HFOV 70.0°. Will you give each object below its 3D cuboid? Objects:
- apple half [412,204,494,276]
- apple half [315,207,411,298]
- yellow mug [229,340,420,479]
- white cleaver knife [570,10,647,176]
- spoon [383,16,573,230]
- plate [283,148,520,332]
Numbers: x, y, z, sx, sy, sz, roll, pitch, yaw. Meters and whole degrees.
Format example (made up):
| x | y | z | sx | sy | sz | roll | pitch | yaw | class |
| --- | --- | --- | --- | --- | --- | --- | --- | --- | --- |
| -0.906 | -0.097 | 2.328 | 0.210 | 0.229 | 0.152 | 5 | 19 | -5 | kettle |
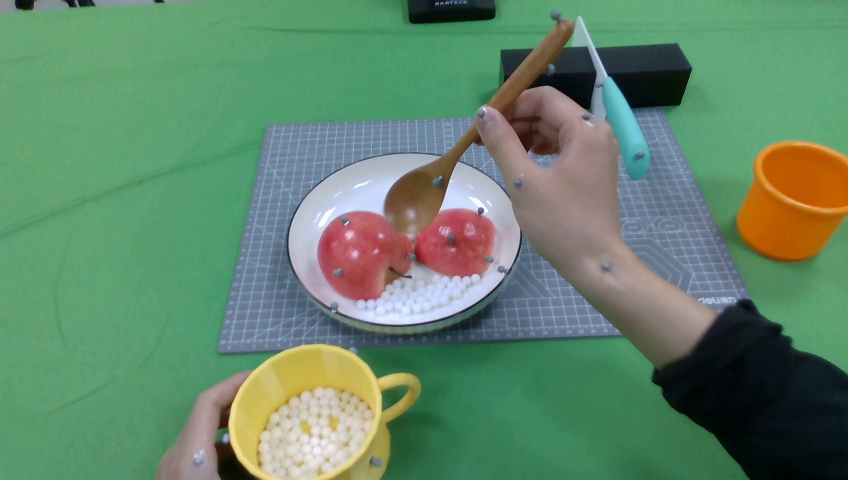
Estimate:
| x | y | z | sx | sy | sz | roll | pitch | yaw | class |
| --- | --- | --- | --- | --- | --- | --- | --- | --- | --- |
| 0.026 | -0.008 | 0.541 | 0.081 | 0.033 | 0.080 | -1 | 52 | 1 | apple half |
| -0.055 | 0.002 | 0.522 | 0.081 | 0.054 | 0.074 | -38 | 56 | -26 | apple half |
| -0.063 | 0.124 | 0.425 | 0.131 | 0.064 | 0.099 | -19 | 52 | -16 | yellow mug |
| 0.193 | -0.162 | 0.657 | 0.021 | 0.066 | 0.283 | -5 | 46 | 4 | white cleaver knife |
| 0.031 | -0.071 | 0.408 | 0.041 | 0.194 | 0.021 | 49 | 39 | 6 | spoon |
| -0.019 | -0.002 | 0.545 | 0.209 | 0.038 | 0.207 | 0 | 50 | 1 | plate |
